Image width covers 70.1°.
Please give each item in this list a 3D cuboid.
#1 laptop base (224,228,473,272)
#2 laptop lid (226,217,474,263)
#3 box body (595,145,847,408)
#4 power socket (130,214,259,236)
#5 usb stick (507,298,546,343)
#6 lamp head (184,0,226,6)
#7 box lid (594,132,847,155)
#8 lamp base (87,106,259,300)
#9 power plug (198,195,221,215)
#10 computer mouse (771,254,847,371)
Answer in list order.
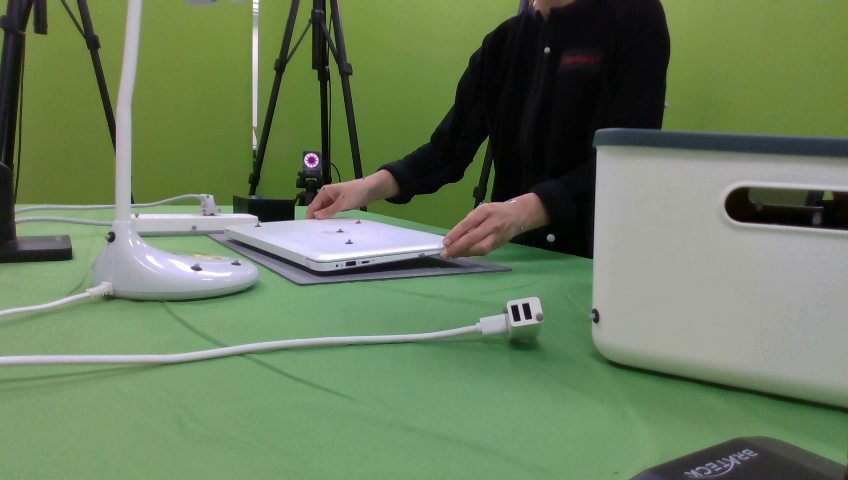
[{"bbox_3d":[-0.125,0.004,0.889,0.237,0.023,0.352,-4,10,-36],"label":"laptop base"},{"bbox_3d":[-0.123,-0.008,0.888,0.243,0.013,0.355,-5,10,-34],"label":"laptop lid"},{"bbox_3d":[0.309,0.006,0.510,0.253,0.160,0.366,6,8,29],"label":"box body"},{"bbox_3d":[-0.397,-0.028,1.048,0.228,0.032,0.072,-3,7,-35],"label":"power socket"},{"bbox_3d":[0.079,0.065,0.470,0.027,0.021,0.059,-13,-24,4],"label":"usb stick"},{"bbox_3d":[-0.229,-0.320,0.627,0.112,0.112,0.123,6,-35,26],"label":"lamp head"},{"bbox_3d":[0.310,-0.066,0.499,0.262,0.015,0.373,7,8,29],"label":"box lid"},{"bbox_3d":[-0.254,-0.039,0.603,0.160,0.180,0.179,4,10,18],"label":"lamp base"},{"bbox_3d":[-0.385,-0.055,1.088,0.035,0.052,0.072,-2,6,-24],"label":"power plug"},{"bbox_3d":[0.344,0.057,0.519,0.063,0.041,0.117,12,47,3],"label":"computer mouse"}]
